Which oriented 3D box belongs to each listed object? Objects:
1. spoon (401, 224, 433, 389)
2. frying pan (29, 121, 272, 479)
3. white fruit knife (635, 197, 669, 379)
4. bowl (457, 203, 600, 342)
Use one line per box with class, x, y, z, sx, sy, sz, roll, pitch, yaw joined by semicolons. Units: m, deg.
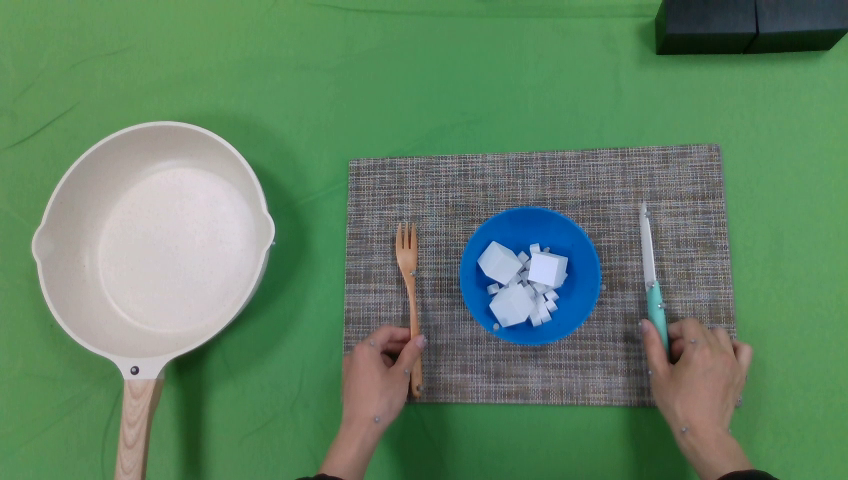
spoon;-0.013;0.077;0.713;0.041;0.022;0.192;-2;74;18
frying pan;-0.324;0.099;0.713;0.306;0.103;0.484;-2;71;8
white fruit knife;0.254;0.052;0.684;0.016;0.027;0.206;0;78;-12
bowl;0.114;0.041;0.678;0.151;0.077;0.150;-1;79;7
